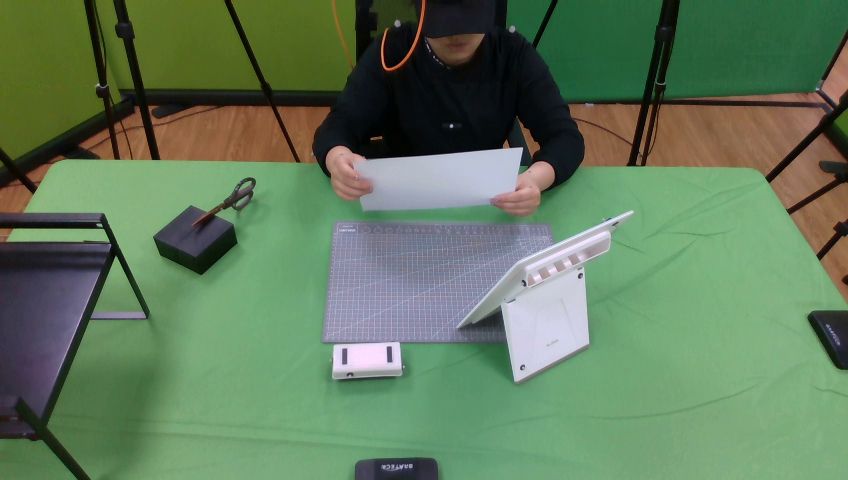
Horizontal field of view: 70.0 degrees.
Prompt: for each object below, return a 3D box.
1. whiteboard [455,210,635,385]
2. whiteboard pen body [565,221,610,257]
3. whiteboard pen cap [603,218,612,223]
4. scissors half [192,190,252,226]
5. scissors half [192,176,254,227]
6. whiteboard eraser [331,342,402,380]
[{"bbox_3d":[0.211,0.111,0.955,0.217,0.306,0.143,-20,72,-23],"label":"whiteboard"},{"bbox_3d":[0.335,-0.004,1.228,0.141,0.017,0.017,-33,57,-29],"label":"whiteboard pen body"},{"bbox_3d":[0.379,-0.031,1.255,0.033,0.018,0.018,-33,57,-29],"label":"whiteboard pen cap"},{"bbox_3d":[-0.393,-0.060,1.187,0.013,0.040,0.175,25,29,11],"label":"scissors half"},{"bbox_3d":[-0.388,-0.075,1.174,0.013,0.040,0.174,29,48,8],"label":"scissors half"},{"bbox_3d":[-0.094,0.198,0.986,0.113,0.042,0.055,-2,44,-6],"label":"whiteboard eraser"}]
